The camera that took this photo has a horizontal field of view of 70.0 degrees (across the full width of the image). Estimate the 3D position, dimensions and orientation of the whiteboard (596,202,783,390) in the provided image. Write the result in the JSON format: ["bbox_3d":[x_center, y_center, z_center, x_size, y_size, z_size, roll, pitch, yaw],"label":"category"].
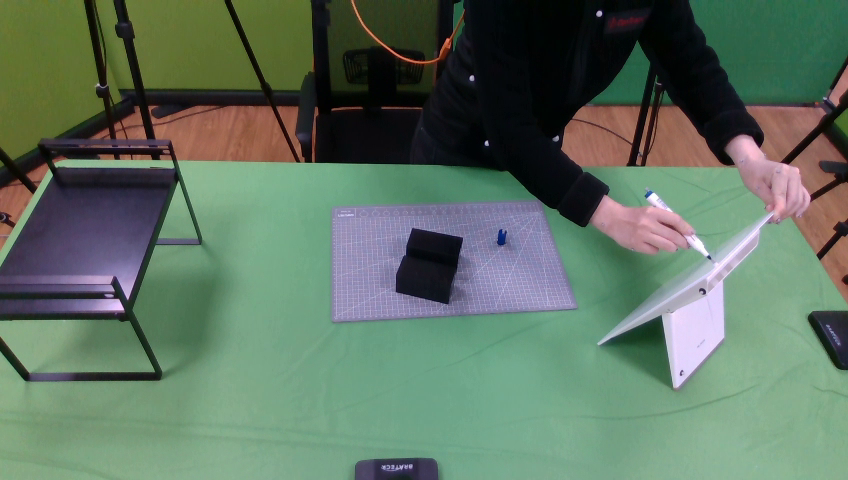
[{"bbox_3d":[0.460,0.112,0.967,0.217,0.306,0.143,-31,74,-29],"label":"whiteboard"}]

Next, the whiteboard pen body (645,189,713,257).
[{"bbox_3d":[0.398,-0.025,0.945,0.017,0.017,0.140,-36,79,-32],"label":"whiteboard pen body"}]

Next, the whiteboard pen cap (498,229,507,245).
[{"bbox_3d":[0.156,-0.005,1.202,0.018,0.033,0.018,0,44,0],"label":"whiteboard pen cap"}]
